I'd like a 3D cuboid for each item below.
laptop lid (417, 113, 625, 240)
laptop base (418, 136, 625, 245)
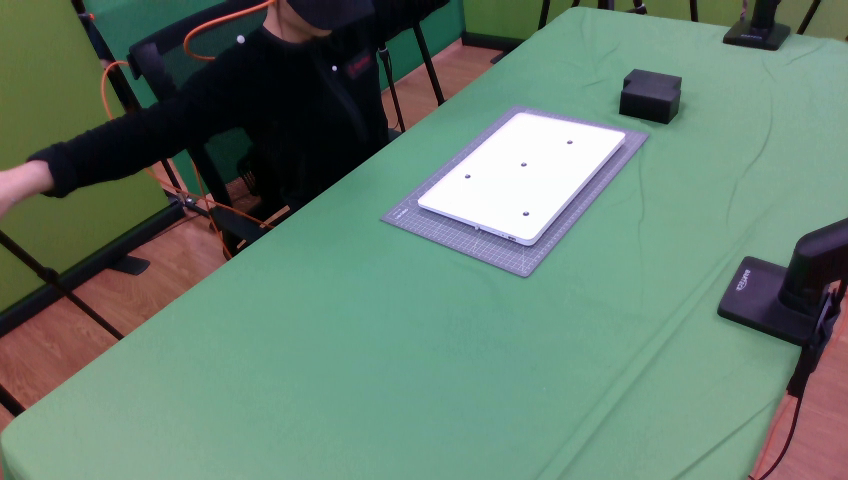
[{"bbox_3d":[0.180,-0.132,1.088,0.239,0.013,0.358,22,49,34],"label":"laptop lid"},{"bbox_3d":[0.183,-0.123,1.094,0.233,0.023,0.355,19,47,34],"label":"laptop base"}]
